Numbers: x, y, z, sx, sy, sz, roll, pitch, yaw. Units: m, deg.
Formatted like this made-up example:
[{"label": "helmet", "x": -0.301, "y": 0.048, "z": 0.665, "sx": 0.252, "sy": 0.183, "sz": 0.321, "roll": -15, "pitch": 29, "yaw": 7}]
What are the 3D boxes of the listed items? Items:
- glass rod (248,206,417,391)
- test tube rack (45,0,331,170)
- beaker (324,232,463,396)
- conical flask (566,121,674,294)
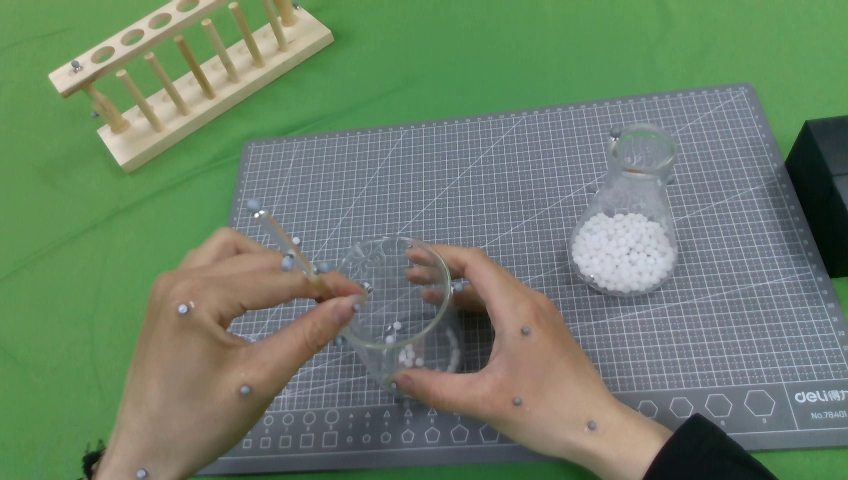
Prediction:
[{"label": "glass rod", "x": -0.040, "y": 0.044, "z": 0.335, "sx": 0.008, "sy": 0.202, "sz": 0.008, "roll": -12, "pitch": 51, "yaw": 15}, {"label": "test tube rack", "x": -0.215, "y": -0.179, "z": 0.580, "sx": 0.242, "sy": 0.086, "sz": 0.066, "roll": -38, "pitch": 59, "yaw": -13}, {"label": "beaker", "x": -0.016, "y": 0.051, "z": 0.390, "sx": 0.074, "sy": 0.101, "sz": 0.083, "roll": -31, "pitch": 57, "yaw": -10}, {"label": "conical flask", "x": 0.132, "y": -0.022, "z": 0.394, "sx": 0.075, "sy": 0.123, "sz": 0.074, "roll": -5, "pitch": 58, "yaw": 8}]
